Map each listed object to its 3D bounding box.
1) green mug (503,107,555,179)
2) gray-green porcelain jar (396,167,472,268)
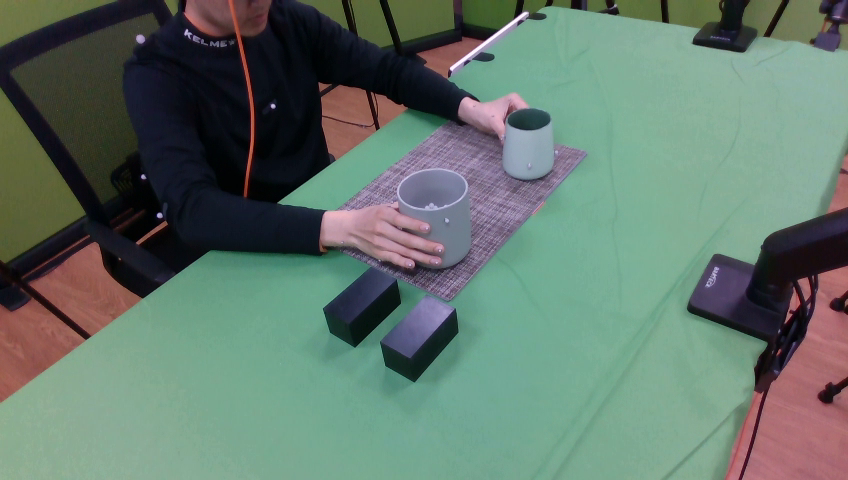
[{"bbox_3d":[0.181,-0.180,1.083,0.093,0.105,0.124,-13,41,-6],"label":"green mug"},{"bbox_3d":[0.018,-0.029,0.913,0.106,0.127,0.105,-4,41,4],"label":"gray-green porcelain jar"}]
